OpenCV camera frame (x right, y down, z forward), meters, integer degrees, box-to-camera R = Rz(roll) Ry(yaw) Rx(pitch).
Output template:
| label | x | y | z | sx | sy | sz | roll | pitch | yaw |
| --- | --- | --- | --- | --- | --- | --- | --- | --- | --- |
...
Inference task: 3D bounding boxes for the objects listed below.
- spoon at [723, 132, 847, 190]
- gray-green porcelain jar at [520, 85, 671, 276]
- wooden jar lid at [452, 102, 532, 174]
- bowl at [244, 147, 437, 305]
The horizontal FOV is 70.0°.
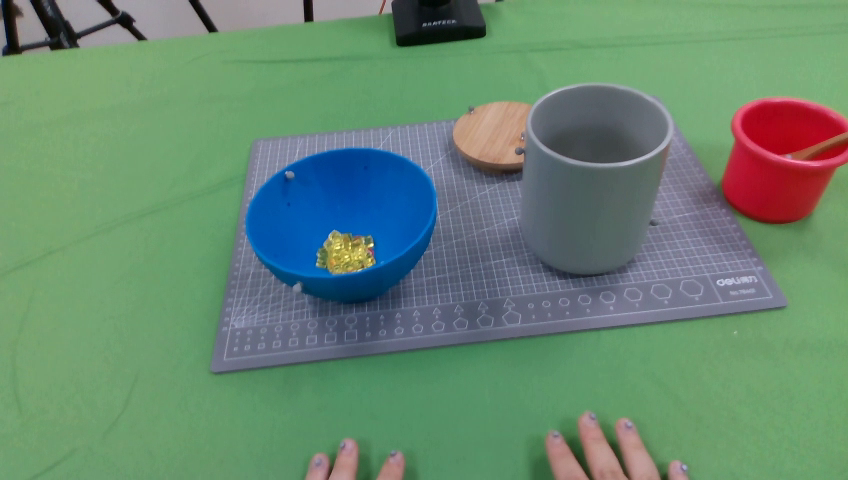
| label | x | y | z | sx | sy | sz | roll | pitch | yaw |
| --- | --- | --- | --- | --- | --- | --- | --- | --- | --- |
| spoon | 0.342 | -0.078 | 0.494 | 0.022 | 0.193 | 0.041 | 48 | 53 | -14 |
| gray-green porcelain jar | 0.131 | -0.042 | 0.486 | 0.106 | 0.128 | 0.105 | -3 | 46 | 3 |
| wooden jar lid | 0.083 | -0.104 | 0.626 | 0.108 | 0.021 | 0.107 | -3 | 45 | 3 |
| bowl | -0.062 | 0.000 | 0.498 | 0.151 | 0.077 | 0.150 | -3 | 46 | 3 |
